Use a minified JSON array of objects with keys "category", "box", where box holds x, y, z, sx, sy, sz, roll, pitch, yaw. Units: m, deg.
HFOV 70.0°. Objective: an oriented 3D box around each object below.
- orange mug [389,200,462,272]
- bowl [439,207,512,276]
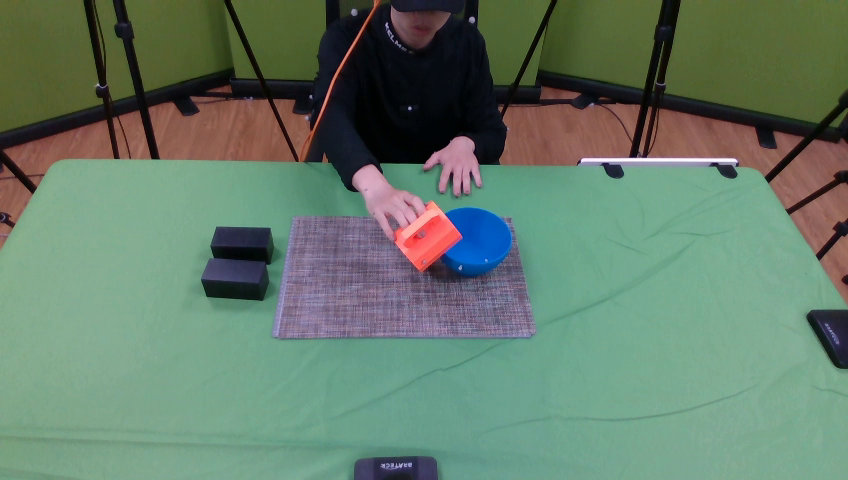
[{"category":"orange mug","box":[0.001,-0.012,1.039,0.101,0.126,0.083,-38,74,-4]},{"category":"bowl","box":[0.086,0.016,1.146,0.151,0.077,0.150,2,46,-2]}]
